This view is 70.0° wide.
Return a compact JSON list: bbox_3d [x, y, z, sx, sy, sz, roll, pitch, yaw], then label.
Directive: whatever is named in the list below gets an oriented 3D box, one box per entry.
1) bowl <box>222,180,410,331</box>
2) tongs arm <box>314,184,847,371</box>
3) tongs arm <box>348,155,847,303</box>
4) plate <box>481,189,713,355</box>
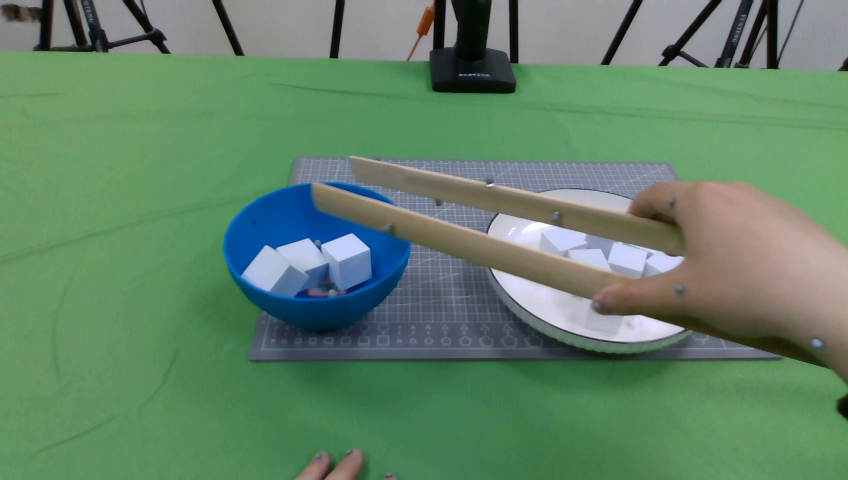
[{"bbox_3d":[-0.087,0.024,0.513,0.151,0.077,0.150,2,41,-2],"label":"bowl"},{"bbox_3d":[0.092,0.016,0.370,0.385,0.028,0.028,16,39,23],"label":"tongs arm"},{"bbox_3d":[0.107,-0.001,0.390,0.383,0.027,0.050,14,42,21],"label":"tongs arm"},{"bbox_3d":[0.153,0.028,0.559,0.208,0.039,0.205,2,41,-2],"label":"plate"}]
